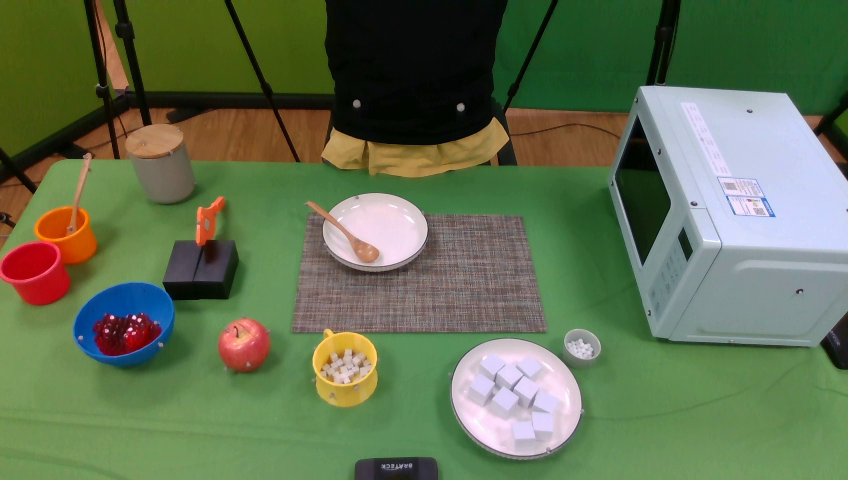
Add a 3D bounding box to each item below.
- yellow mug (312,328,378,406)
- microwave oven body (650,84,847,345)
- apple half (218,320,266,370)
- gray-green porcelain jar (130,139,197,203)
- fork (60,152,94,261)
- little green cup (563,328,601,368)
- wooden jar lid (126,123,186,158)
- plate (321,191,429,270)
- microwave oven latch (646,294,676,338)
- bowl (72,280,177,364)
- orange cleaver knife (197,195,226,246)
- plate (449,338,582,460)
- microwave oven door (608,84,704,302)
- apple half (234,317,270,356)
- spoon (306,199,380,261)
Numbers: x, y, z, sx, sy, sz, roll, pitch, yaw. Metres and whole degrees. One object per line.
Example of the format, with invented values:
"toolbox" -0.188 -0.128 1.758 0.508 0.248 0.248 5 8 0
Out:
"yellow mug" -0.132 0.193 0.971 0.100 0.064 0.130 -22 51 -22
"microwave oven body" 0.568 -0.054 1.116 0.326 0.261 0.439 2 46 -1
"apple half" -0.298 0.176 0.971 0.080 0.075 0.053 35 57 22
"gray-green porcelain jar" -0.522 -0.148 1.224 0.106 0.127 0.105 2 47 -2
"fork" -0.638 -0.063 1.119 0.028 0.018 0.207 12 90 10
"little green cup" 0.265 0.184 1.025 0.061 0.039 0.061 1 46 -1
"wooden jar lid" -0.519 -0.190 1.179 0.108 0.021 0.107 2 44 -2
"plate" -0.094 -0.015 1.185 0.209 0.038 0.208 2 46 -2
"microwave oven latch" 0.412 0.133 1.060 0.030 0.029 0.078 4 46 0
"bowl" -0.472 0.147 0.982 0.151 0.077 0.150 2 46 -2
"orange cleaver knife" -0.404 -0.041 1.157 0.012 0.077 0.210 2 14 -7
"plate" 0.141 0.251 0.956 0.208 0.039 0.206 2 46 -2
"microwave oven door" 0.424 -0.096 1.138 0.039 0.245 0.353 3 46 -1
"apple half" -0.273 0.154 0.992 0.081 0.081 0.033 33 56 25
"spoon" -0.160 -0.023 1.170 0.193 0.022 0.041 41 64 16
